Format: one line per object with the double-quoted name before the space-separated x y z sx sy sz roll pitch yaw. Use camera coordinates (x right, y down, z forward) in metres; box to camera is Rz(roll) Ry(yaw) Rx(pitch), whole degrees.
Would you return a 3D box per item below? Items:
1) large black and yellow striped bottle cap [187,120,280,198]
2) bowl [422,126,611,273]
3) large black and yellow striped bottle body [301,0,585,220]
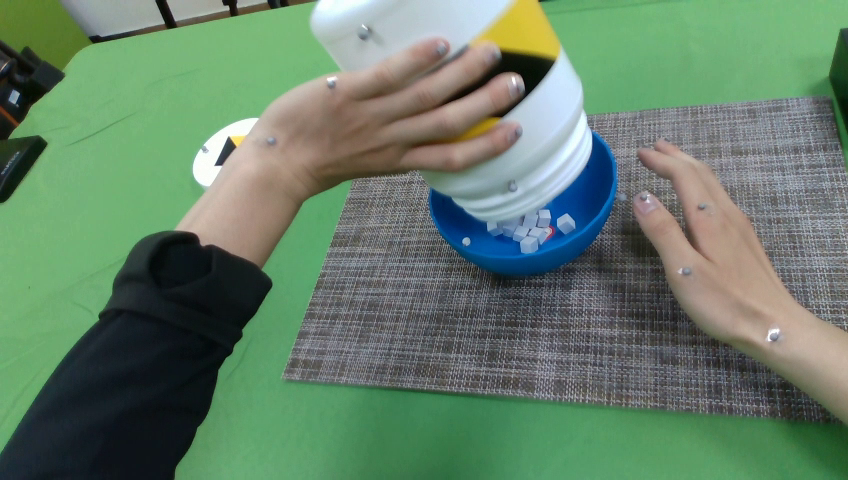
"large black and yellow striped bottle cap" -0.229 -0.099 0.727 0.115 0.019 0.114 -9 51 12
"bowl" 0.081 -0.025 0.505 0.151 0.077 0.150 -10 51 13
"large black and yellow striped bottle body" 0.022 -0.114 0.416 0.130 0.186 0.129 -28 32 20
